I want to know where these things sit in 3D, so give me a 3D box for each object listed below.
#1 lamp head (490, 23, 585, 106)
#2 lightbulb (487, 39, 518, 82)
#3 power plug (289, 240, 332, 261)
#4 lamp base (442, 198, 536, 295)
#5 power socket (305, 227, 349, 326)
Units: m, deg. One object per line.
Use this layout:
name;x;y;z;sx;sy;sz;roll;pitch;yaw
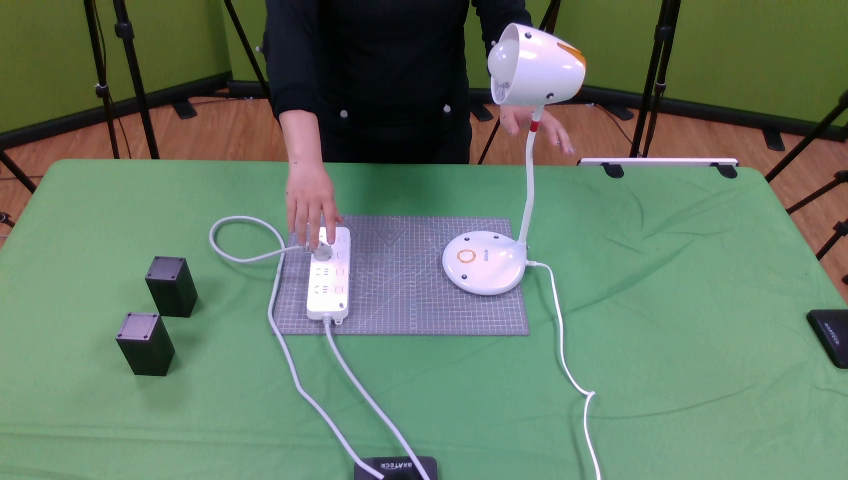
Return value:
lamp head;0.165;-0.241;0.872;0.123;0.113;0.111;9;43;-17
lightbulb;0.143;-0.252;0.865;0.108;0.060;0.059;9;45;-7
power plug;-0.207;0.022;1.123;0.072;0.053;0.035;6;44;5
lamp base;0.130;-0.012;1.105;0.179;0.181;0.159;-1;46;-9
power socket;-0.176;0.058;1.115;0.072;0.033;0.225;-1;46;-4
